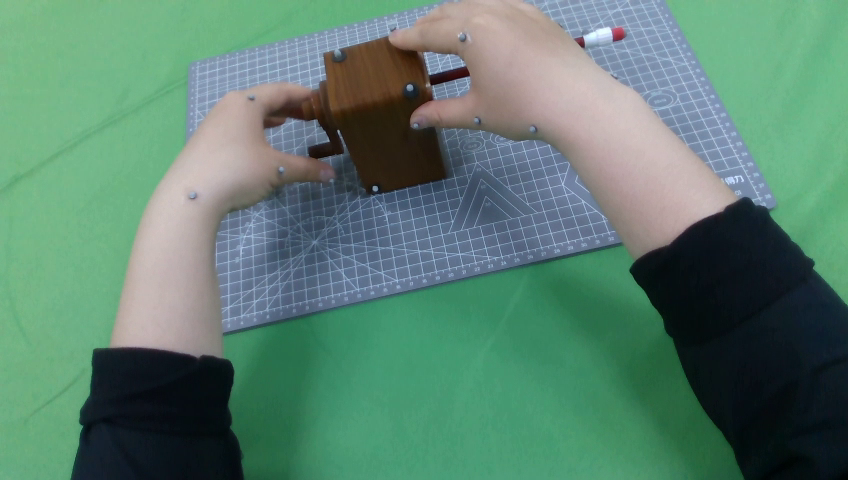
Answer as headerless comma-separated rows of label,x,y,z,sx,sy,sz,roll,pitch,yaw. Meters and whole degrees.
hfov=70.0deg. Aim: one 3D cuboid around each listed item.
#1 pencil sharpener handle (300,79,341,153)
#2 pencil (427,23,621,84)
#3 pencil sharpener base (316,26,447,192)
pencil sharpener handle,-0.082,-0.088,0.450,0.030,0.068,0.035,-15,64,2
pencil,0.044,-0.125,0.430,0.194,0.012,0.012,-14,60,3
pencil sharpener base,-0.030,-0.094,0.458,0.077,0.108,0.061,-15,60,2
